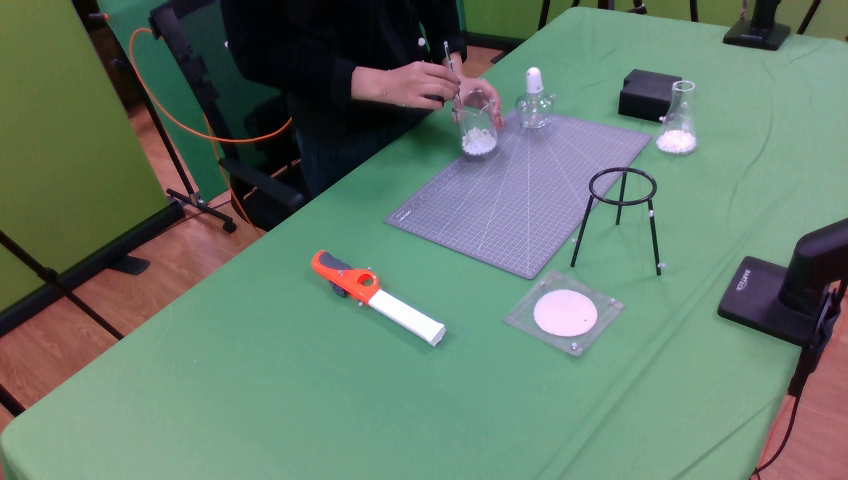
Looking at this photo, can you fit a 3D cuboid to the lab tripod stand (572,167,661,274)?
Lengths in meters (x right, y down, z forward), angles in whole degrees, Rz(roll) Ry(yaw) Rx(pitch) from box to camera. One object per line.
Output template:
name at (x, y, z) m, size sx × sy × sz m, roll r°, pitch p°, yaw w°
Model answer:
lab tripod stand at (0.283, -0.030, 0.879) m, size 0.148 × 0.132 × 0.147 m, roll -7°, pitch 38°, yaw 6°

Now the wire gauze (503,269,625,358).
wire gauze at (0.194, 0.100, 0.840) m, size 0.120 × 0.011 × 0.125 m, roll 27°, pitch 54°, yaw 36°

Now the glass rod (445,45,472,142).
glass rod at (0.064, -0.257, 1.083) m, size 0.008 × 0.201 × 0.008 m, roll -11°, pitch 43°, yaw 11°

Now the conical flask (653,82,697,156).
conical flask at (0.454, -0.218, 1.077) m, size 0.075 × 0.122 × 0.075 m, roll -5°, pitch 40°, yaw 5°

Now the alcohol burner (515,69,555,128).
alcohol burner at (0.221, -0.285, 1.203) m, size 0.078 × 0.119 × 0.077 m, roll -4°, pitch 39°, yaw 4°

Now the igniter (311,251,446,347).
igniter at (-0.078, 0.081, 0.899) m, size 0.274 × 0.025 × 0.057 m, roll 27°, pitch 62°, yaw 35°

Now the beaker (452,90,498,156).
beaker at (0.097, -0.211, 1.109) m, size 0.074 × 0.101 × 0.083 m, roll -15°, pitch 40°, yaw 0°

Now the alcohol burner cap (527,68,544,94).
alcohol burner cap at (0.216, -0.312, 1.179) m, size 0.034 × 0.048 × 0.033 m, roll -9°, pitch 40°, yaw 9°
